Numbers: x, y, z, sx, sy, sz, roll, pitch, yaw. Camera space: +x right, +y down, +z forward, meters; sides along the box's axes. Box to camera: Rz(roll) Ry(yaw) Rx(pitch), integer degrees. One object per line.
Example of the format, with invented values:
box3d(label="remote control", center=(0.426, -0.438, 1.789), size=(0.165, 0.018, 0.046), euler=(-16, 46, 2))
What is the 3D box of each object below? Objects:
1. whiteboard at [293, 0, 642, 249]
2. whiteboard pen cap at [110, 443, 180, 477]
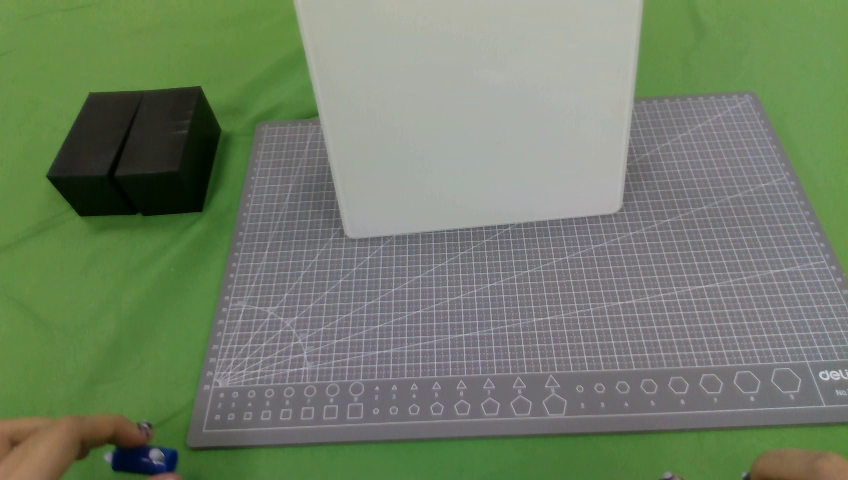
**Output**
box3d(label="whiteboard", center=(0.030, -0.167, 0.439), size=(0.217, 0.308, 0.142), euler=(-5, 34, 2))
box3d(label="whiteboard pen cap", center=(-0.157, 0.125, 0.342), size=(0.033, 0.018, 0.018), euler=(4, 54, 3))
